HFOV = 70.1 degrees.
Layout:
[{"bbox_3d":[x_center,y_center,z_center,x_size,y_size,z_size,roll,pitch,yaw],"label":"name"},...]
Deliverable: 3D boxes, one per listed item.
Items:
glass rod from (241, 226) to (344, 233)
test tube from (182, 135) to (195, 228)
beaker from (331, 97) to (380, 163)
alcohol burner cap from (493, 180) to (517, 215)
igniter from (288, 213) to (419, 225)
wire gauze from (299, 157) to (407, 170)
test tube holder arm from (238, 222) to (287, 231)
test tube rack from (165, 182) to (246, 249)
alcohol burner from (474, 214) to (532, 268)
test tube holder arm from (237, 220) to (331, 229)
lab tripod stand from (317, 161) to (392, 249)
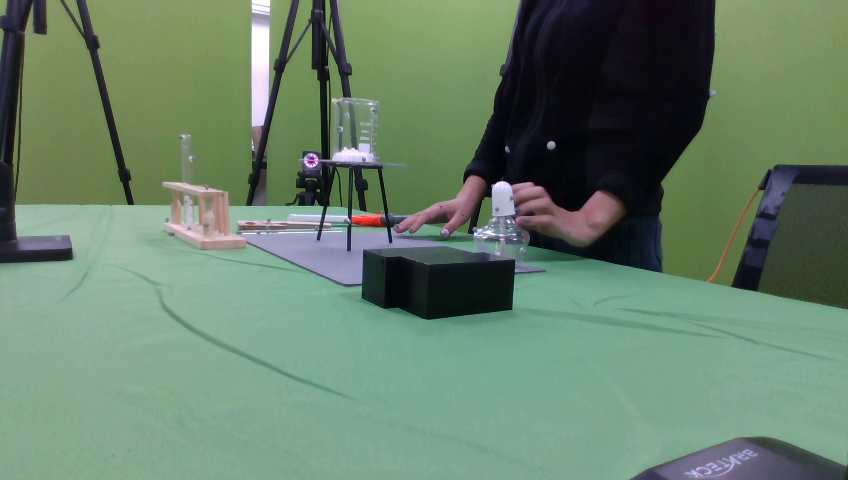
[{"bbox_3d":[-0.239,-0.019,1.118,0.201,0.008,0.008,-3,9,-33],"label":"glass rod"},{"bbox_3d":[-0.382,-0.095,0.983,0.017,0.150,0.017,-1,2,0],"label":"test tube"},{"bbox_3d":[-0.111,-0.171,0.950,0.073,0.100,0.084,12,12,42],"label":"beaker"},{"bbox_3d":[0.107,-0.057,0.813,0.034,0.048,0.034,-6,11,2],"label":"alcohol burner cap"},{"bbox_3d":[-0.145,-0.044,1.278,0.278,0.025,0.057,-1,-2,-21],"label":"igniter"},{"bbox_3d":[-0.112,-0.124,0.959,0.121,0.011,0.126,13,12,40],"label":"wire gauze"},{"bbox_3d":[-0.296,-0.024,1.112,0.088,0.015,0.010,-1,40,-32],"label":"test tube holder arm"},{"bbox_3d":[-0.360,-0.045,0.983,0.067,0.085,0.241,-3,9,-34],"label":"test tube rack"},{"bbox_3d":[0.107,-0.022,0.819,0.078,0.119,0.078,1,9,0],"label":"alcohol burner"},{"bbox_3d":[-0.260,-0.028,1.140,0.179,0.015,0.013,-1,40,-32],"label":"test tube holder arm"},{"bbox_3d":[-0.111,-0.059,0.963,0.148,0.131,0.148,4,8,0],"label":"lab tripod stand"}]
